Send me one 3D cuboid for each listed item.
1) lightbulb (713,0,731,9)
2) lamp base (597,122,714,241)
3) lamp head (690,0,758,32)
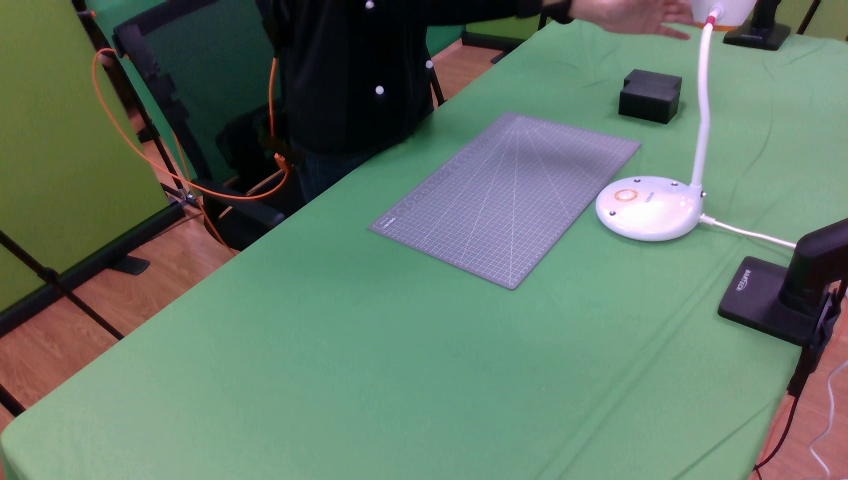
[{"bbox_3d":[0.432,-0.387,0.863,0.059,0.108,0.059,-5,30,3],"label":"lightbulb"},{"bbox_3d":[0.363,-0.110,0.921,0.178,0.181,0.160,13,45,21],"label":"lamp base"},{"bbox_3d":[0.434,-0.363,0.870,0.112,0.123,0.112,2,28,0],"label":"lamp head"}]
